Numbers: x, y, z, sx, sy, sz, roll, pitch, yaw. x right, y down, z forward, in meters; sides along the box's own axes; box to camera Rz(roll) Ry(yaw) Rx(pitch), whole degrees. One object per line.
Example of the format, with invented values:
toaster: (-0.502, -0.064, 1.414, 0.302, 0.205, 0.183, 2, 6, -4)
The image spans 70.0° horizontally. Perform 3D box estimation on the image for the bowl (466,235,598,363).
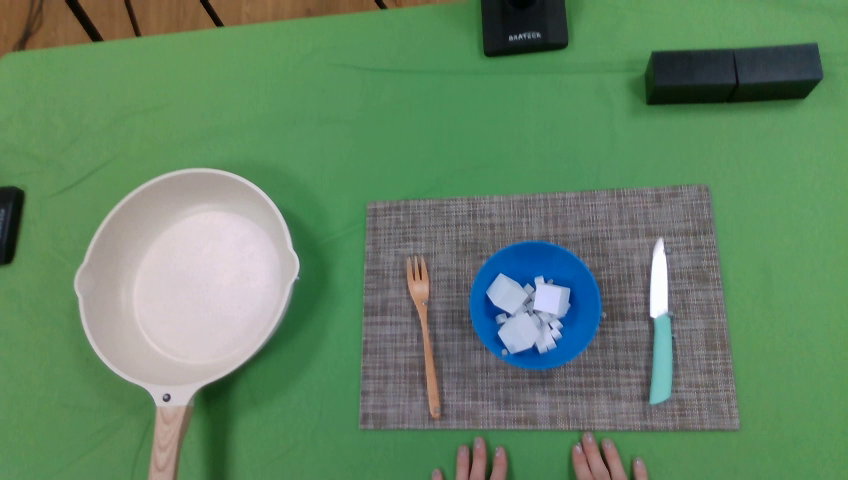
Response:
bowl: (0.127, 0.077, 0.729, 0.151, 0.077, 0.150, -2, 74, 7)

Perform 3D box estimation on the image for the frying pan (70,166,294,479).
frying pan: (-0.310, 0.141, 0.764, 0.306, 0.103, 0.484, -3, 65, 8)

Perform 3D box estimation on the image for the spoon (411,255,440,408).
spoon: (0.001, 0.113, 0.766, 0.041, 0.022, 0.192, -7, 71, 22)

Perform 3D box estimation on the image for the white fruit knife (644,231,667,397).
white fruit knife: (0.282, 0.086, 0.736, 0.027, 0.016, 0.206, 6, 74, 1)
